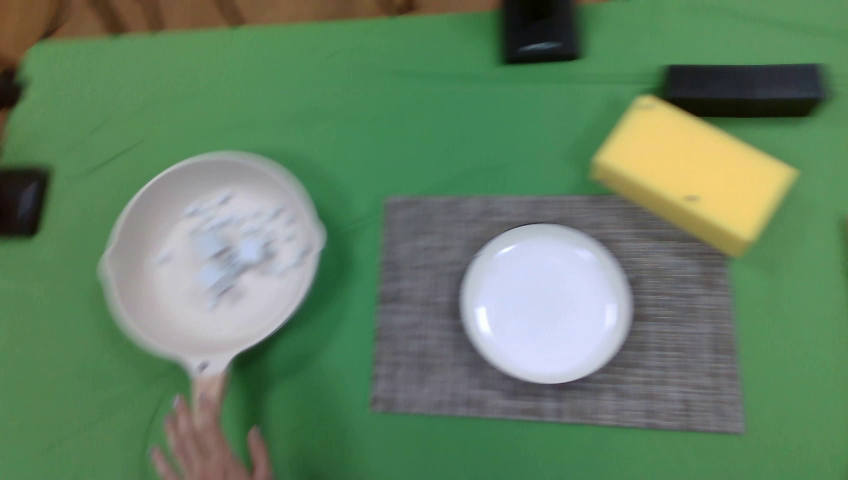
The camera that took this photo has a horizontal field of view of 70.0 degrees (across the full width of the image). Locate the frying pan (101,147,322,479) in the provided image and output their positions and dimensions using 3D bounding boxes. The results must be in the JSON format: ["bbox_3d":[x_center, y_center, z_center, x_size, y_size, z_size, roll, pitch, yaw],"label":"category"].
[{"bbox_3d":[-0.275,0.109,0.784,0.306,0.103,0.483,-7,63,7],"label":"frying pan"}]

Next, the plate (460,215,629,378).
[{"bbox_3d":[0.150,0.071,0.768,0.207,0.039,0.206,-2,73,7],"label":"plate"}]

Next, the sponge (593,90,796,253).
[{"bbox_3d":[0.341,-0.091,0.781,0.205,0.061,0.118,34,78,18],"label":"sponge"}]
